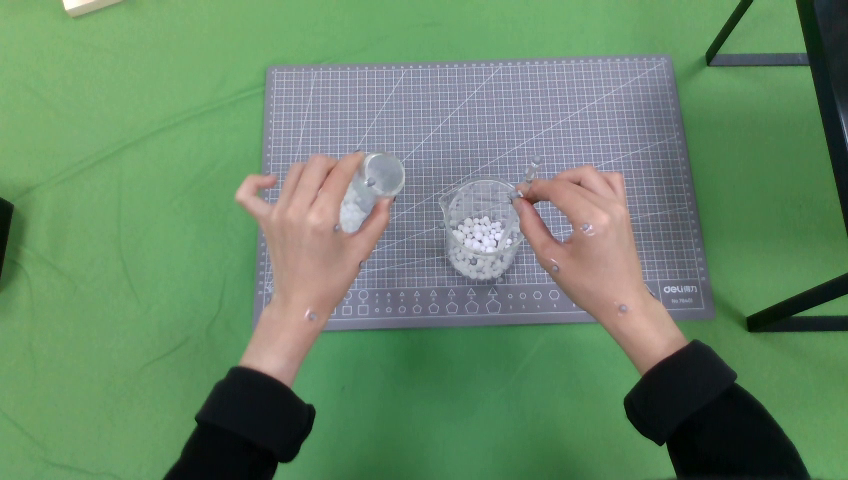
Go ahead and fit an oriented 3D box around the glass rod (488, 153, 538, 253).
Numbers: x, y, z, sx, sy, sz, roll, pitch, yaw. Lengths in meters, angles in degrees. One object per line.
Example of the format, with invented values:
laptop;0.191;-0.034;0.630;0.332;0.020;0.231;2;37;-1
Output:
glass rod;0.071;-0.024;0.509;0.008;0.201;0.008;1;70;-2

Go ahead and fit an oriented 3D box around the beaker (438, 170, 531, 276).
beaker;0.052;-0.012;0.566;0.084;0.101;0.073;21;73;8

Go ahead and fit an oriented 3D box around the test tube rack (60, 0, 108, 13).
test tube rack;-0.314;-0.349;0.682;0.242;0.085;0.066;-22;74;-6

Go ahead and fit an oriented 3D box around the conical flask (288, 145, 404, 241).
conical flask;-0.061;-0.045;0.507;0.076;0.121;0.075;6;77;-30
